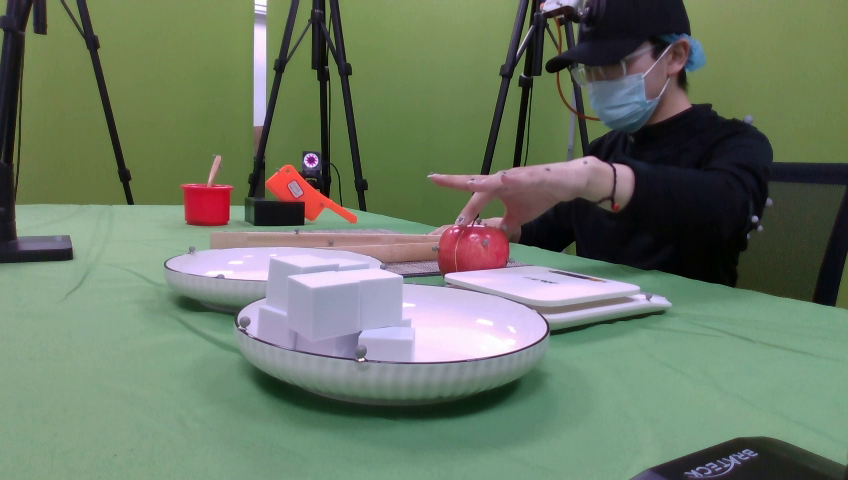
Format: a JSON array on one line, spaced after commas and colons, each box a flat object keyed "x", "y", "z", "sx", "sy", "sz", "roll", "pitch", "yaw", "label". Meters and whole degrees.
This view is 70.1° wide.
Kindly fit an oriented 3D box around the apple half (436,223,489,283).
[{"x": 0.045, "y": 0.017, "z": 0.691, "sx": 0.081, "sy": 0.074, "sz": 0.053, "roll": -9, "pitch": 10, "yaw": -41, "label": "apple half"}]

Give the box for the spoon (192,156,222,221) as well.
[{"x": -0.430, "y": -0.108, "z": 1.222, "sx": 0.041, "sy": 0.021, "sz": 0.193, "roll": -1, "pitch": 52, "yaw": 0, "label": "spoon"}]

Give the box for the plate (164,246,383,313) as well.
[{"x": -0.145, "y": 0.038, "z": 0.600, "sx": 0.209, "sy": 0.038, "sz": 0.209, "roll": 2, "pitch": 7, "yaw": 0, "label": "plate"}]

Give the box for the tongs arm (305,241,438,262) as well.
[{"x": -0.070, "y": 0.016, "z": 0.800, "sx": 0.390, "sy": 0.028, "sz": 0.028, "roll": -2, "pitch": 4, "yaw": -34, "label": "tongs arm"}]

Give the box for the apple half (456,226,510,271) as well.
[{"x": 0.072, "y": 0.021, "z": 0.662, "sx": 0.082, "sy": 0.081, "sz": 0.032, "roll": -4, "pitch": 7, "yaw": -41, "label": "apple half"}]

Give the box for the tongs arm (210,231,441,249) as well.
[{"x": -0.105, "y": 0.004, "z": 0.876, "sx": 0.386, "sy": 0.026, "sz": 0.050, "roll": 0, "pitch": 6, "yaw": -20, "label": "tongs arm"}]

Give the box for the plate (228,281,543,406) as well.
[{"x": -0.025, "y": 0.067, "z": 0.413, "sx": 0.208, "sy": 0.039, "sz": 0.207, "roll": 3, "pitch": 7, "yaw": 0, "label": "plate"}]

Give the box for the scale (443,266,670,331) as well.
[{"x": 0.131, "y": 0.052, "z": 0.602, "sx": 0.202, "sy": 0.031, "sz": 0.148, "roll": -2, "pitch": 9, "yaw": -37, "label": "scale"}]

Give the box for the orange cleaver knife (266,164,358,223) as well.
[{"x": -0.237, "y": -0.082, "z": 1.295, "sx": 0.212, "sy": 0.077, "sz": 0.012, "roll": 35, "pitch": -8, "yaw": -26, "label": "orange cleaver knife"}]
